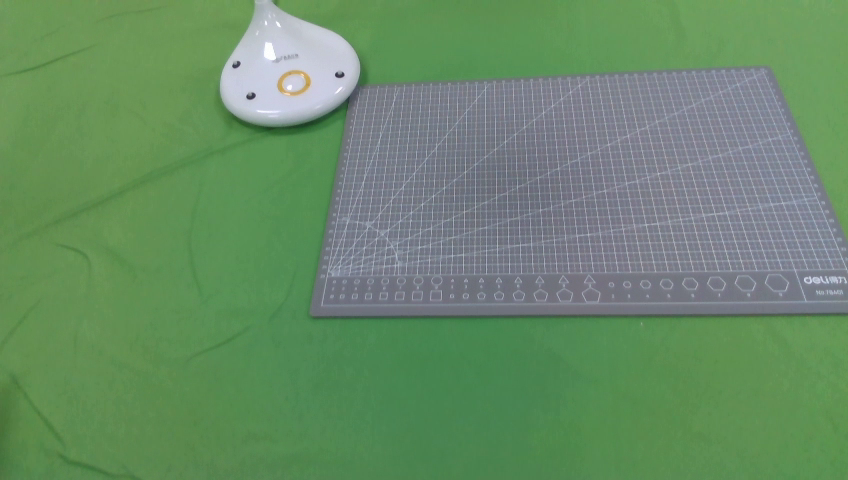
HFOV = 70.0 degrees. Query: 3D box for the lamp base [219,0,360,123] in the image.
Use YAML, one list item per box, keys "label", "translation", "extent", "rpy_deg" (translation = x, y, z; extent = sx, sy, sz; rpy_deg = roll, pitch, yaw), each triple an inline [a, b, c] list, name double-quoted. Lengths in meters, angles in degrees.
- label: "lamp base"
  translation: [-0.166, -0.245, 0.635]
  extent: [0.161, 0.182, 0.177]
  rpy_deg: [-25, 52, -12]
